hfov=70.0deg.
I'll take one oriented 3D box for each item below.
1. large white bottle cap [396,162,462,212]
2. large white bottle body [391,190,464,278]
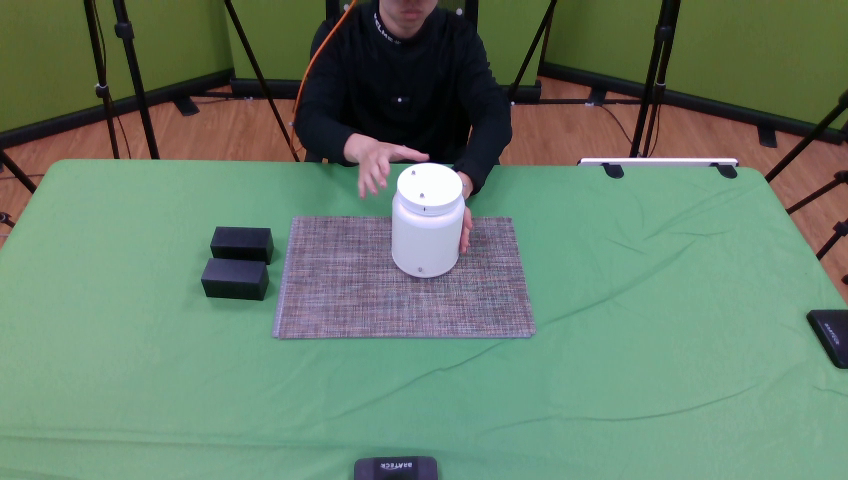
[{"bbox_3d":[0.009,-0.094,1.053,0.115,0.018,0.114,2,46,-2],"label":"large white bottle cap"},{"bbox_3d":[0.005,-0.034,1.114,0.131,0.185,0.130,2,46,-2],"label":"large white bottle body"}]
